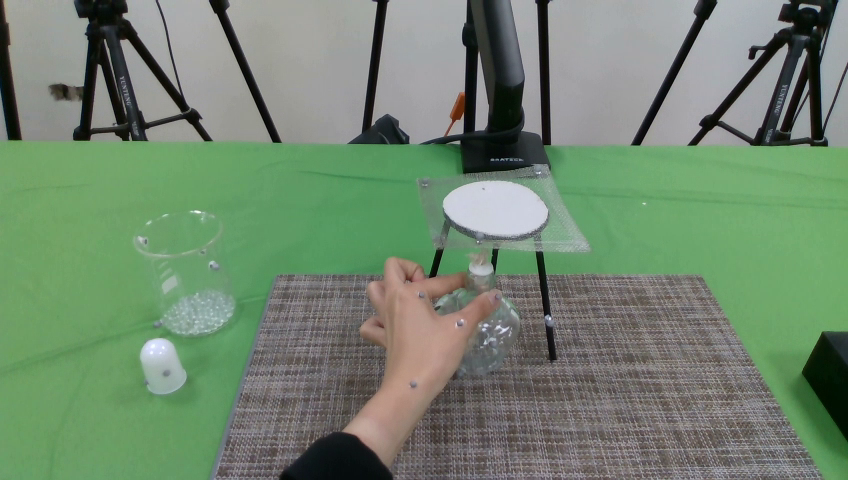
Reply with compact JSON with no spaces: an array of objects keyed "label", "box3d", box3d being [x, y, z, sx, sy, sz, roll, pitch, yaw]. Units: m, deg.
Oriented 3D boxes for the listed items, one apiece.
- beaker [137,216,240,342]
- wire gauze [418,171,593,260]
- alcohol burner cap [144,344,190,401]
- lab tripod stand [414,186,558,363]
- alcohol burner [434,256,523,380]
[{"label":"beaker","box3d":[-0.213,0.037,0.564,0.074,0.101,0.083,9,35,11]},{"label":"wire gauze","box3d":[0.062,-0.022,0.499,0.125,0.011,0.120,-2,36,-6]},{"label":"alcohol burner cap","box3d":[-0.219,0.109,0.511,0.034,0.048,0.033,1,35,0]},{"label":"lab tripod stand","box3d":[0.064,0.031,0.542,0.148,0.132,0.147,2,34,-1]},{"label":"alcohol burner","box3d":[0.047,0.061,0.515,0.078,0.120,0.077,2,36,-1]}]
